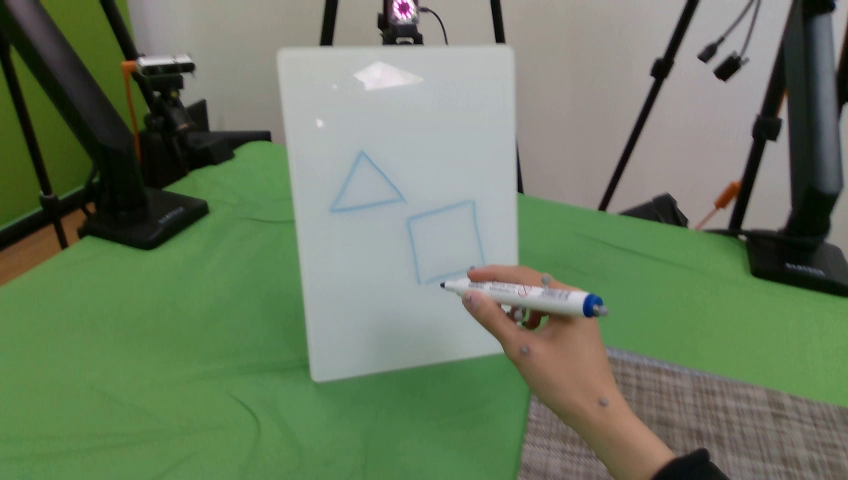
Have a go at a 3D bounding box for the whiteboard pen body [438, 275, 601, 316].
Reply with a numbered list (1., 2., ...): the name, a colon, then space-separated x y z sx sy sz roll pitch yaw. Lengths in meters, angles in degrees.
1. whiteboard pen body: 0.058 0.035 0.414 0.017 0.017 0.140 -25 18 -38

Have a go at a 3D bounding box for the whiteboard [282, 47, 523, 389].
1. whiteboard: -0.025 -0.032 0.630 0.218 0.306 0.143 -6 13 -14
